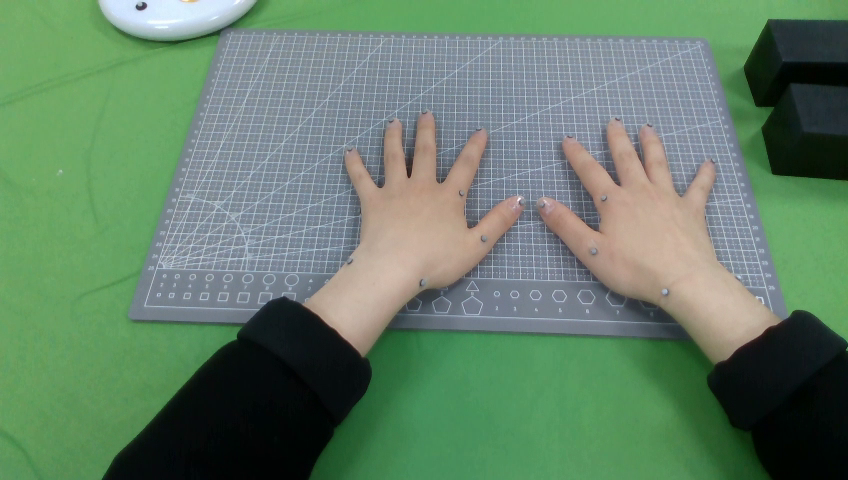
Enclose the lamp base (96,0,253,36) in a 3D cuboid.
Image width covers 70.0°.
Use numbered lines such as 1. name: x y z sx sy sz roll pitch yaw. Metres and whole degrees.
1. lamp base: -0.248 -0.304 0.532 0.160 0.182 0.177 -35 62 -19
